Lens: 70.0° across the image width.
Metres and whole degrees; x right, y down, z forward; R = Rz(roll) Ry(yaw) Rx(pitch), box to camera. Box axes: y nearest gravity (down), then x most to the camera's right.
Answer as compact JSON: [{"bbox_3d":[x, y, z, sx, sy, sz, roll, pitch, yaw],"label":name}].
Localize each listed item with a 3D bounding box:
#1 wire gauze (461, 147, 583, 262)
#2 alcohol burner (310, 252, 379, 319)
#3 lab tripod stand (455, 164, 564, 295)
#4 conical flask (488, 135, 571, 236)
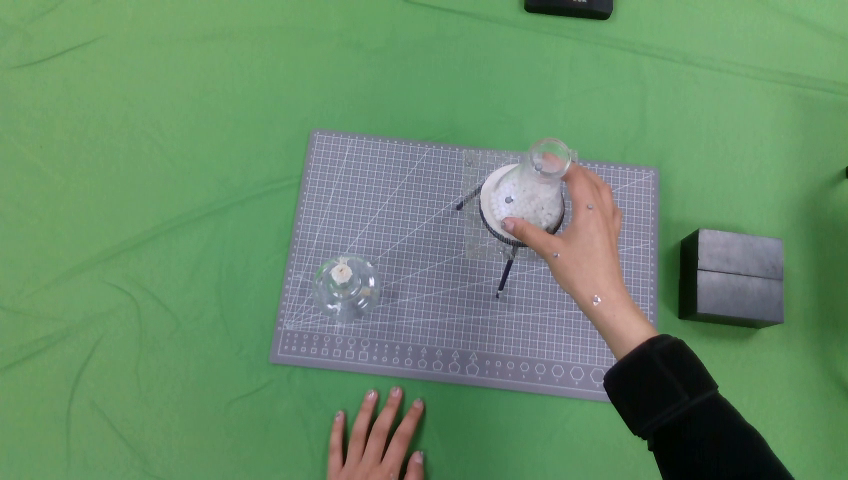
[{"bbox_3d":[0.100,-0.038,0.621,0.125,0.011,0.121,1,77,-4],"label":"wire gauze"},{"bbox_3d":[-0.089,0.046,0.670,0.078,0.119,0.077,1,72,-3],"label":"alcohol burner"},{"bbox_3d":[0.101,-0.022,0.685,0.148,0.132,0.147,1,73,-2],"label":"lab tripod stand"},{"bbox_3d":[0.103,-0.055,0.564,0.075,0.122,0.075,1,74,-2],"label":"conical flask"}]
